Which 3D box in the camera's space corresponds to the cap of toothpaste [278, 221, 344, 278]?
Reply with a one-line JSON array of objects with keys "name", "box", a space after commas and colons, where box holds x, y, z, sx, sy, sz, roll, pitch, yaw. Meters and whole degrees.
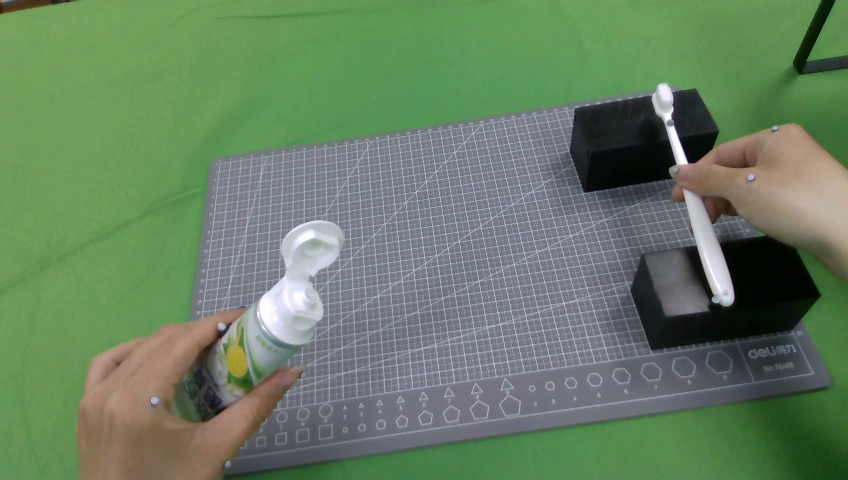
[{"name": "cap of toothpaste", "box": [-0.060, 0.005, 0.326, 0.037, 0.038, 0.011, -23, 50, -8]}]

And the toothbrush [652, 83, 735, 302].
[{"name": "toothbrush", "box": [0.188, -0.040, 0.425, 0.014, 0.017, 0.180, -5, 60, 3]}]

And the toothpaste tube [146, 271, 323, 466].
[{"name": "toothpaste tube", "box": [-0.114, 0.073, 0.355, 0.165, 0.035, 0.054, -43, 72, 26]}]
